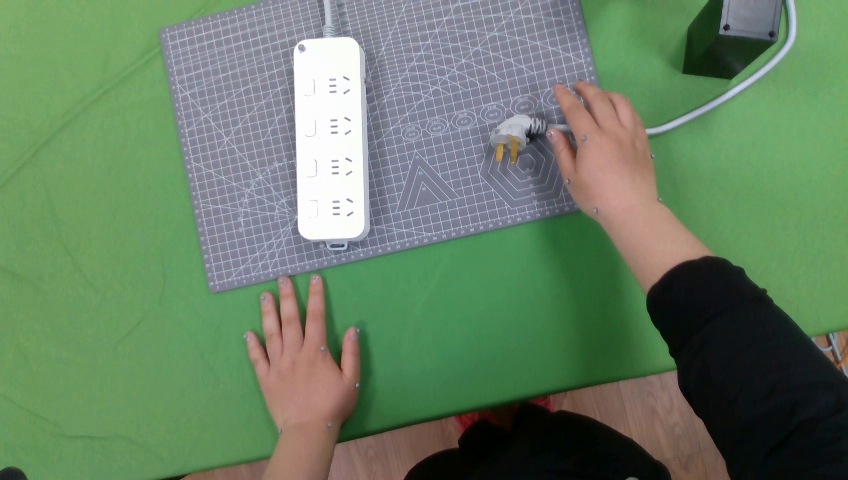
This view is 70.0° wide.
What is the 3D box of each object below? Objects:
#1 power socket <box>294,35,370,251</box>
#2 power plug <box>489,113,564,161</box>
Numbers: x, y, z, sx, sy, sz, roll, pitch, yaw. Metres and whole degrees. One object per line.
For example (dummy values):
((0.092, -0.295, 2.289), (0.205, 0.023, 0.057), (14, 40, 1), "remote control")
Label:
((-0.096, -0.103, 0.633), (0.072, 0.032, 0.226), (-2, 87, 4), "power socket")
((0.102, -0.104, 0.610), (0.072, 0.035, 0.052), (2, 69, 16), "power plug")
